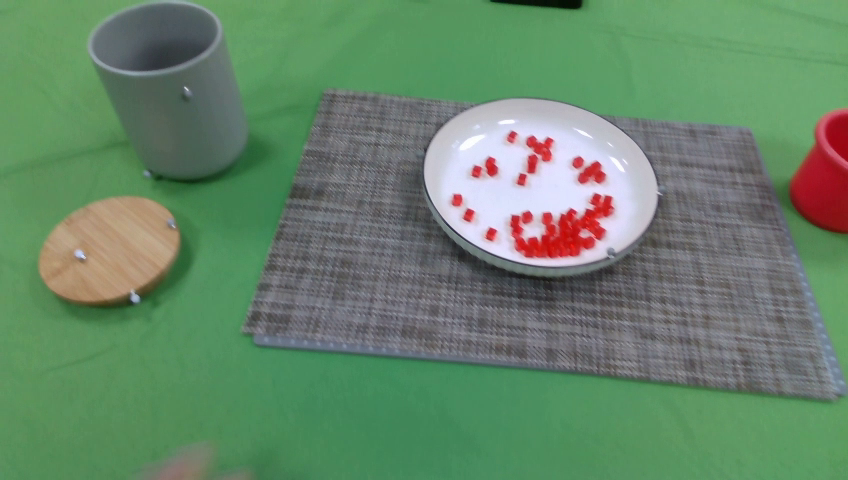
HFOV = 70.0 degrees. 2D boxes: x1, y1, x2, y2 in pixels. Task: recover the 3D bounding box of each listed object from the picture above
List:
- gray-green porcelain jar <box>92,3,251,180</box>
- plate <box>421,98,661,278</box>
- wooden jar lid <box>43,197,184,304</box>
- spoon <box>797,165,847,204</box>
[{"bbox_3d":[-0.215,-0.125,0.539,0.106,0.127,0.105,1,52,-1],"label":"gray-green porcelain jar"},{"bbox_3d":[0.101,-0.047,0.543,0.208,0.039,0.205,1,52,-1],"label":"plate"},{"bbox_3d":[-0.253,0.009,0.501,0.108,0.021,0.107,2,52,-2],"label":"wooden jar lid"},{"bbox_3d":[0.426,-0.074,0.514,0.193,0.022,0.041,-25,40,36],"label":"spoon"}]
